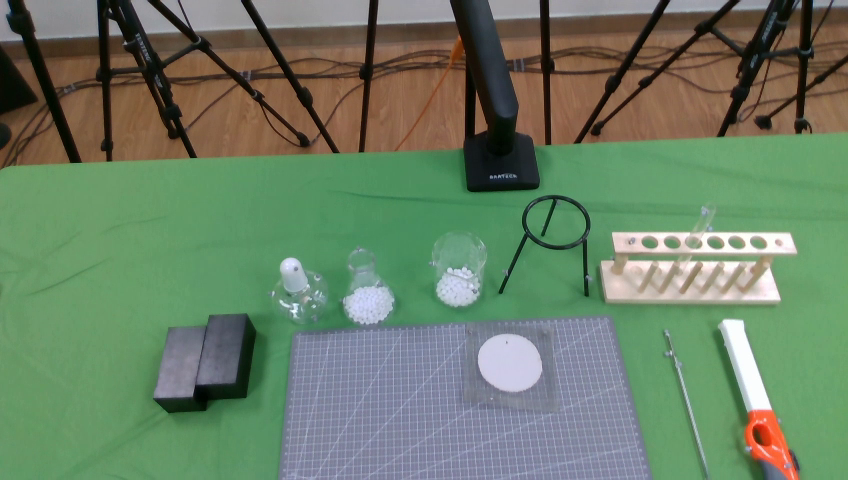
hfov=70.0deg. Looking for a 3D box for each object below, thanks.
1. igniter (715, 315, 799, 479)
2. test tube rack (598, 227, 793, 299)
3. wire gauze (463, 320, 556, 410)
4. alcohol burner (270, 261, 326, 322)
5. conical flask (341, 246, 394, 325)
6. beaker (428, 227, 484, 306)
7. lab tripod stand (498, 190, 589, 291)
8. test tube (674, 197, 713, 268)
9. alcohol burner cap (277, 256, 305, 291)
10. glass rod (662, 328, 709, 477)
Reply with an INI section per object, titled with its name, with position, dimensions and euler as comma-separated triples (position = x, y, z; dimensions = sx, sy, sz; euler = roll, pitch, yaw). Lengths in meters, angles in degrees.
[igniter]
position = 0.420, 0.219, 0.758
dimensions = 0.057, 0.025, 0.274
euler = 4, 55, -7
[test tube rack]
position = 0.378, 0.034, 0.852
dimensions = 0.242, 0.086, 0.066
euler = 0, 55, 2
[wire gauze]
position = 0.114, 0.163, 0.814
dimensions = 0.125, 0.011, 0.120
euler = 5, 55, 2
[alcohol burner]
position = -0.176, 0.063, 0.830
dimensions = 0.078, 0.120, 0.077
euler = -2, 56, 3
[conical flask]
position = -0.082, 0.058, 0.826
dimensions = 0.075, 0.123, 0.074
euler = -1, 55, 1
[beaker]
position = 0.046, 0.043, 0.847
dimensions = 0.074, 0.101, 0.083
euler = -18, 57, -10
[lab tripod stand]
position = 0.171, 0.008, 0.847
dimensions = 0.148, 0.132, 0.147
euler = -1, 57, 2
[test tube]
position = 0.360, -0.006, 0.820
dimensions = 0.017, 0.151, 0.017
euler = -2, 55, 4
[alcohol burner cap]
position = -0.177, 0.041, 0.802
dimensions = 0.034, 0.048, 0.033
euler = 0, 49, 1
[glass rod]
position = 0.336, 0.203, 0.783
dimensions = 0.008, 0.008, 0.197
euler = -2, 55, 0
